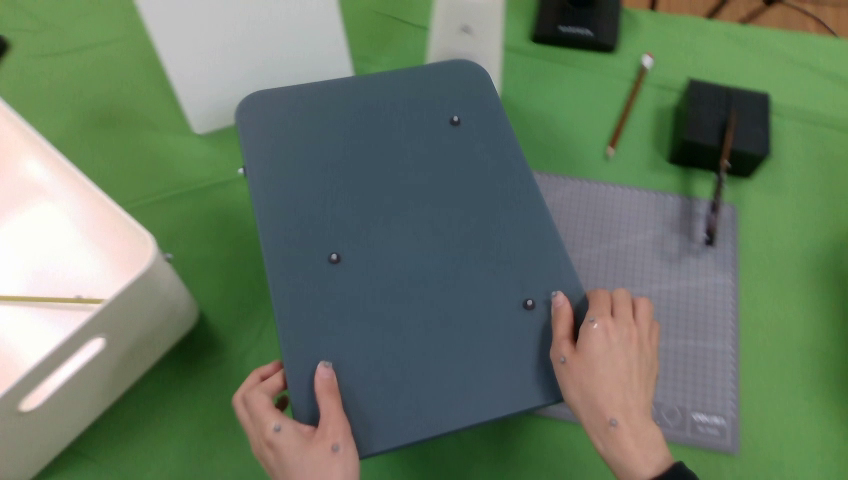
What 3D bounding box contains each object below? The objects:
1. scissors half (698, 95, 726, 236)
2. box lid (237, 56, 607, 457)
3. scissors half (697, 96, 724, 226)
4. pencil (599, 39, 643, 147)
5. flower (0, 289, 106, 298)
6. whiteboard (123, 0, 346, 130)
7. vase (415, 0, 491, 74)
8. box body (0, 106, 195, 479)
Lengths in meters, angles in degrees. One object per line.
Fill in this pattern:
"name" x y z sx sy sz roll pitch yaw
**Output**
"scissors half" 0.337 -0.088 0.704 0.012 0.040 0.174 8 82 30
"box lid" -0.014 -0.017 0.551 0.264 0.015 0.368 -12 65 -12
"scissors half" 0.329 -0.095 0.686 0.013 0.040 0.174 9 64 25
"pencil" 0.257 -0.195 0.795 0.012 0.012 0.193 22 66 11
"flower" -0.439 0.055 0.653 0.361 0.038 0.044 1 92 5
"whiteboard" -0.247 -0.327 0.728 0.217 0.308 0.142 -21 46 -10
"vase" 0.035 -0.241 0.712 0.098 0.201 0.097 0 62 1
"box body" -0.443 0.025 0.594 0.362 0.161 0.253 36 68 16
